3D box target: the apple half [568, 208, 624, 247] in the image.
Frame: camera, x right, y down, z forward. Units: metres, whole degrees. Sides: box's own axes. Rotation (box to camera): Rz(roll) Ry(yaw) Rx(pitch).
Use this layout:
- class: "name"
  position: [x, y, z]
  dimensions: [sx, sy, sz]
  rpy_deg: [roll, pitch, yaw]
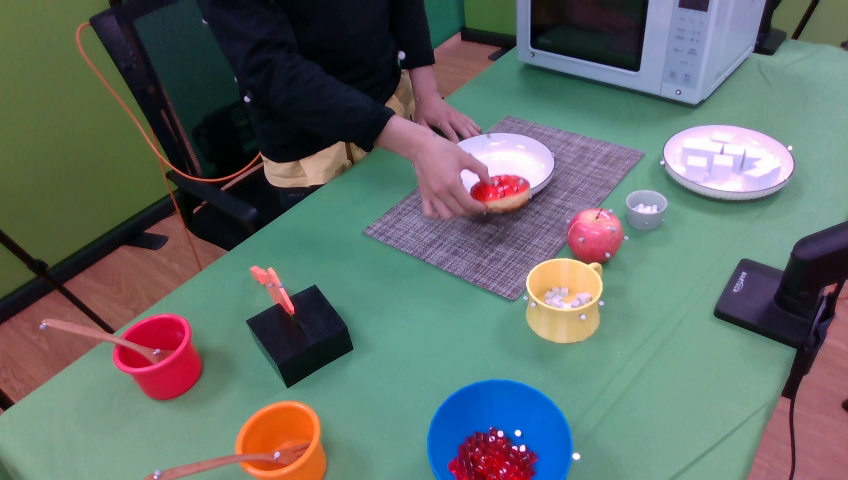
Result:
- class: "apple half"
  position: [0.259, -0.014, 0.914]
  dimensions: [0.080, 0.075, 0.053]
  rpy_deg: [0, 36, 15]

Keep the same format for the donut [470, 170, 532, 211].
- class: "donut"
  position: [0.122, -0.080, 0.951]
  dimensions: [0.099, 0.048, 0.098]
  rpy_deg: [-12, 24, 6]

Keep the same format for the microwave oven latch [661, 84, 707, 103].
- class: "microwave oven latch"
  position: [0.517, -0.296, 1.204]
  dimensions: [0.078, 0.029, 0.030]
  rpy_deg: [27, 52, 35]

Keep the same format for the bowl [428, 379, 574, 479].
- class: "bowl"
  position: [0.082, 0.233, 0.644]
  dimensions: [0.151, 0.077, 0.150]
  rpy_deg: [-4, 39, 4]

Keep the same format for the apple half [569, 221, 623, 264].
- class: "apple half"
  position: [0.251, 0.010, 0.884]
  dimensions: [0.081, 0.081, 0.032]
  rpy_deg: [3, 37, 12]

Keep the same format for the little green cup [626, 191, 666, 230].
- class: "little green cup"
  position: [0.352, -0.046, 0.963]
  dimensions: [0.061, 0.039, 0.061]
  rpy_deg: [-4, 40, 4]

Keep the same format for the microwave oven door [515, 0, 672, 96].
- class: "microwave oven door"
  position: [0.343, -0.454, 1.259]
  dimensions: [0.353, 0.245, 0.039]
  rpy_deg: [26, 51, 33]

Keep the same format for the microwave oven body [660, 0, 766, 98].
- class: "microwave oven body"
  position: [0.472, -0.513, 1.317]
  dimensions: [0.438, 0.261, 0.327]
  rpy_deg: [26, 51, 34]

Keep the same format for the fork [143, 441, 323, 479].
- class: "fork"
  position: [-0.189, 0.231, 0.631]
  dimensions: [0.028, 0.018, 0.209]
  rpy_deg: [35, 13, 37]

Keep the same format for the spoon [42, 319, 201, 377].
- class: "spoon"
  position: [-0.385, 0.135, 0.779]
  dimensions: [0.195, 0.021, 0.041]
  rpy_deg: [29, 37, -26]

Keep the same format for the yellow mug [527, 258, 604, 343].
- class: "yellow mug"
  position: [0.201, 0.073, 0.825]
  dimensions: [0.131, 0.064, 0.099]
  rpy_deg: [-32, 46, -27]

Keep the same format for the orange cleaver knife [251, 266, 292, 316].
- class: "orange cleaver knife"
  position: [-0.221, 0.071, 0.873]
  dimensions: [0.012, 0.077, 0.210]
  rpy_deg: [-25, 11, -21]

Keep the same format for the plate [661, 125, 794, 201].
- class: "plate"
  position: [0.513, -0.128, 1.035]
  dimensions: [0.207, 0.039, 0.206]
  rpy_deg: [-4, 40, 4]

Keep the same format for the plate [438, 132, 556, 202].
- class: "plate"
  position: [0.130, -0.125, 1.084]
  dimensions: [0.209, 0.038, 0.208]
  rpy_deg: [-4, 40, 4]
